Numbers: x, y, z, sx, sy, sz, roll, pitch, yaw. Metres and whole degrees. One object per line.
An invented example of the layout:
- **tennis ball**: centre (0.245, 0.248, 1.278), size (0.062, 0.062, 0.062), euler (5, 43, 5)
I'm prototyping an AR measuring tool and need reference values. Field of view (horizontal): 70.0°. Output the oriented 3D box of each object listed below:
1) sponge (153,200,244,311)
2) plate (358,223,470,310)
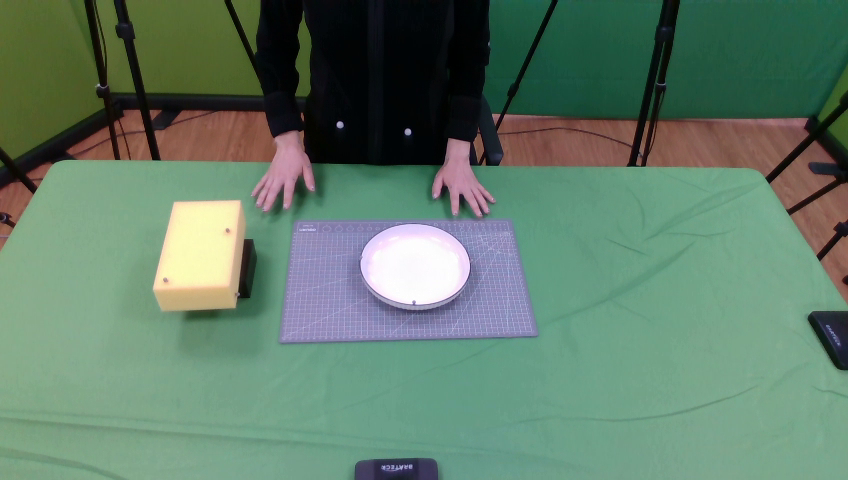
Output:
- **sponge**: centre (-0.384, 0.022, 1.051), size (0.118, 0.061, 0.205), euler (-3, 47, -7)
- **plate**: centre (-0.019, 0.052, 1.132), size (0.209, 0.038, 0.208), euler (2, 46, -2)
